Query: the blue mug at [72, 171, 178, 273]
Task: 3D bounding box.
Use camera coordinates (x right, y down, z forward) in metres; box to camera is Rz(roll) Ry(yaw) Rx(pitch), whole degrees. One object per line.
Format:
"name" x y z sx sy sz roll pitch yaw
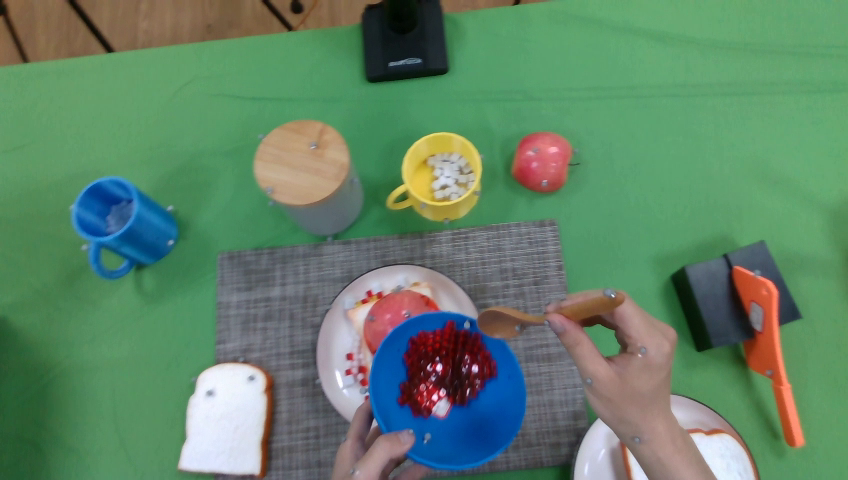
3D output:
"blue mug" -0.381 -0.015 0.765 0.082 0.106 0.116 15 75 7

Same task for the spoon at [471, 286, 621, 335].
"spoon" 0.093 0.059 0.491 0.042 0.193 0.021 36 68 -12

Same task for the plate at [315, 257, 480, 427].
"plate" -0.027 0.125 0.738 0.207 0.039 0.206 -1 74 3

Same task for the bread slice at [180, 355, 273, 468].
"bread slice" -0.239 0.207 0.738 0.105 0.019 0.131 2 76 3

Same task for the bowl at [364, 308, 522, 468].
"bowl" 0.011 0.151 0.588 0.152 0.077 0.150 7 58 -11

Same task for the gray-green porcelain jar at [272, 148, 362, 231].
"gray-green porcelain jar" -0.136 -0.074 0.759 0.106 0.127 0.105 -1 74 3

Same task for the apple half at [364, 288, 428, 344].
"apple half" -0.031 0.090 0.681 0.081 0.033 0.081 -3 71 10

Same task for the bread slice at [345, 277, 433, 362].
"bread slice" -0.022 0.122 0.739 0.107 0.018 0.133 -22 76 -3

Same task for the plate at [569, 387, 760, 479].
"plate" 0.267 0.273 0.684 0.209 0.038 0.208 -1 74 4

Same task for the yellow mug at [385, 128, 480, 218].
"yellow mug" 0.008 -0.079 0.783 0.131 0.064 0.099 -27 74 -4

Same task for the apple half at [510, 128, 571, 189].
"apple half" 0.153 -0.113 0.792 0.074 0.054 0.080 16 76 10

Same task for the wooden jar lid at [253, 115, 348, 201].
"wooden jar lid" -0.140 -0.092 0.697 0.108 0.021 0.107 0 72 1

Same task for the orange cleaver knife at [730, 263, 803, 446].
"orange cleaver knife" 0.390 0.129 0.695 0.012 0.077 0.211 -16 95 -8

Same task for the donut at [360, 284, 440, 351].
"donut" -0.026 0.101 0.716 0.099 0.048 0.098 -1 75 4
